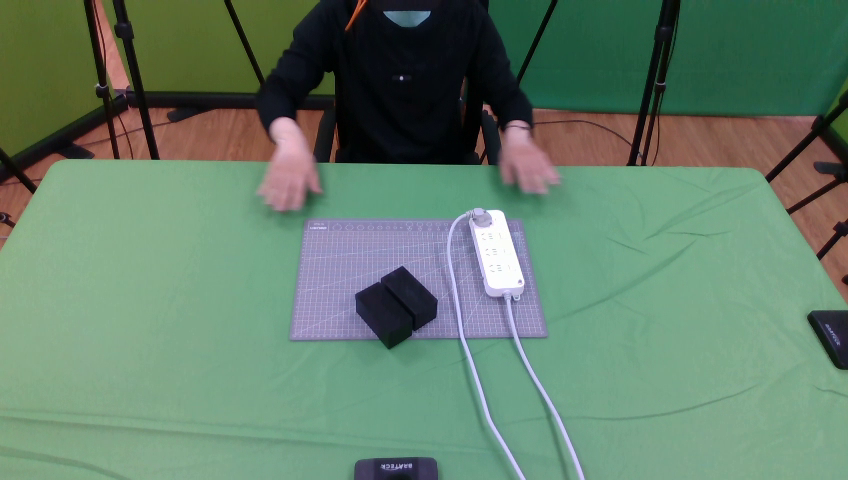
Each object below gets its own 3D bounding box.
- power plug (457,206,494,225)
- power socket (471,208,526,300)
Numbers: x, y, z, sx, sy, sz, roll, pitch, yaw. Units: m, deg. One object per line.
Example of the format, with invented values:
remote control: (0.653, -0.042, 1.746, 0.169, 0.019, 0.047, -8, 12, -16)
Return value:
power plug: (0.104, -0.046, 1.206, 0.072, 0.053, 0.035, 2, 47, 6)
power socket: (0.141, 0.019, 1.172, 0.072, 0.033, 0.225, -3, 47, -6)
